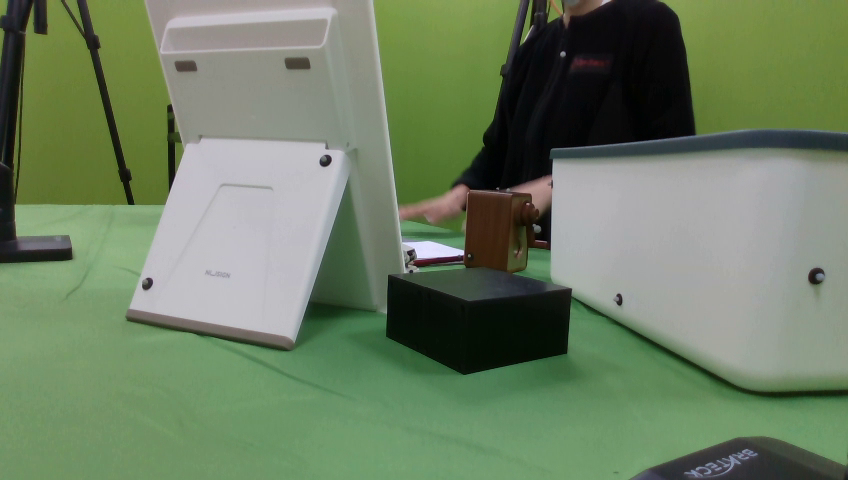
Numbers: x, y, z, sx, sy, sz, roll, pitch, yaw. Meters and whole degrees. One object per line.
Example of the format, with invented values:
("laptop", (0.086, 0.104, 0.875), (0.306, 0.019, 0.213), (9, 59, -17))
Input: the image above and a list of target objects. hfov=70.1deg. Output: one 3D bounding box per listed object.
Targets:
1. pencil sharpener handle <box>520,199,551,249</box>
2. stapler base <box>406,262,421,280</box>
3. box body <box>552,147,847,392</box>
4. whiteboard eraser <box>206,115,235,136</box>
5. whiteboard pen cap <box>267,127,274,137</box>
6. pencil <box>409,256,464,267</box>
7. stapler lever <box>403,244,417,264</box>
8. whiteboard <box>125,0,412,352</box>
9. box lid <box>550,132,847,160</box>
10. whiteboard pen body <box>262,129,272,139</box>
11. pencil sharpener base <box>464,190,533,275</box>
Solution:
("pencil sharpener handle", (0.148, -0.020, 0.786), (0.030, 0.068, 0.036), (8, 31, 36))
("stapler base", (-0.069, 0.027, 0.759), (0.130, 0.024, 0.041), (9, 13, 23))
("box body", (0.290, 0.002, 0.549), (0.255, 0.160, 0.363), (2, 7, -10))
("whiteboard eraser", (-0.444, -0.250, 1.322), (0.056, 0.042, 0.112), (-1, 8, -15))
("whiteboard pen cap", (-0.340, -0.239, 1.337), (0.018, 0.018, 0.033), (1, -1, -14))
("pencil", (0.041, 0.027, 0.850), (0.195, 0.012, 0.012), (-5, 10, -45))
("stapler lever", (-0.066, 0.003, 0.755), (0.117, 0.040, 0.027), (9, 13, 23))
("whiteboard", (-0.151, -0.050, 0.471), (0.216, 0.305, 0.144), (6, 27, 24))
("box lid", (0.294, -0.072, 0.538), (0.264, 0.015, 0.370), (1, 6, -10))
("whiteboard pen body", (-0.361, -0.245, 1.393), (0.017, 0.017, 0.140), (0, 5, -20))
("pencil sharpener base", (0.103, -0.012, 0.813), (0.076, 0.107, 0.061), (8, 9, 36))
